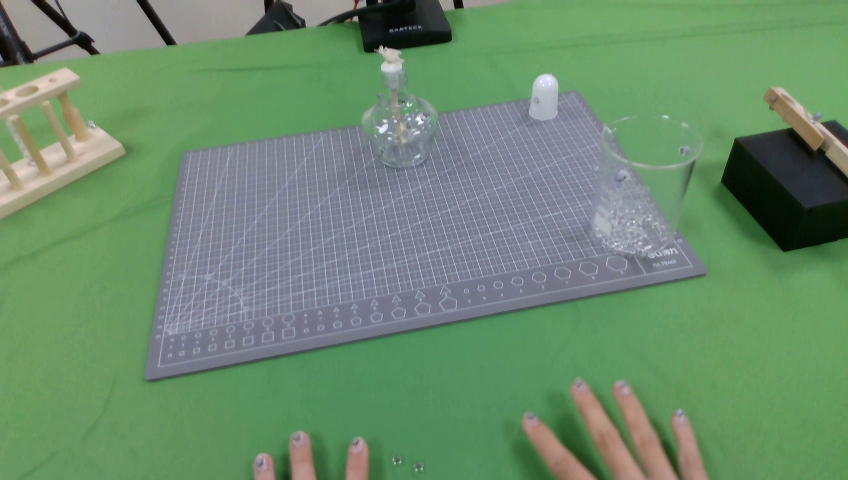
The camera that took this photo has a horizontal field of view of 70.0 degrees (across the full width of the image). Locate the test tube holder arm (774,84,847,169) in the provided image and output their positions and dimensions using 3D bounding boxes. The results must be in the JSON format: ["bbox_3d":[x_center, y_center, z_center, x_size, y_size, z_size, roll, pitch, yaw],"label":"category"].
[{"bbox_3d":[0.346,-0.084,0.516,0.013,0.015,0.176,-6,44,-9],"label":"test tube holder arm"}]

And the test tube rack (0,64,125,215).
[{"bbox_3d":[-0.436,-0.077,0.594,0.066,0.086,0.242,31,55,31],"label":"test tube rack"}]

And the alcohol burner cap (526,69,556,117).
[{"bbox_3d":[0.129,-0.163,0.661,0.034,0.048,0.033,-2,45,3],"label":"alcohol burner cap"}]

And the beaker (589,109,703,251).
[{"bbox_3d":[0.175,-0.048,0.501,0.074,0.101,0.083,-32,50,-25],"label":"beaker"}]

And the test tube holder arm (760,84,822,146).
[{"bbox_3d":[0.333,-0.114,0.547,0.010,0.015,0.087,-5,44,-8],"label":"test tube holder arm"}]

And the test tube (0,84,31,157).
[{"bbox_3d":[-0.419,-0.146,0.591,0.017,0.151,0.017,-1,43,2],"label":"test tube"}]

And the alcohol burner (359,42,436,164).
[{"bbox_3d":[-0.028,-0.136,0.597,0.078,0.120,0.077,-4,44,4],"label":"alcohol burner"}]
